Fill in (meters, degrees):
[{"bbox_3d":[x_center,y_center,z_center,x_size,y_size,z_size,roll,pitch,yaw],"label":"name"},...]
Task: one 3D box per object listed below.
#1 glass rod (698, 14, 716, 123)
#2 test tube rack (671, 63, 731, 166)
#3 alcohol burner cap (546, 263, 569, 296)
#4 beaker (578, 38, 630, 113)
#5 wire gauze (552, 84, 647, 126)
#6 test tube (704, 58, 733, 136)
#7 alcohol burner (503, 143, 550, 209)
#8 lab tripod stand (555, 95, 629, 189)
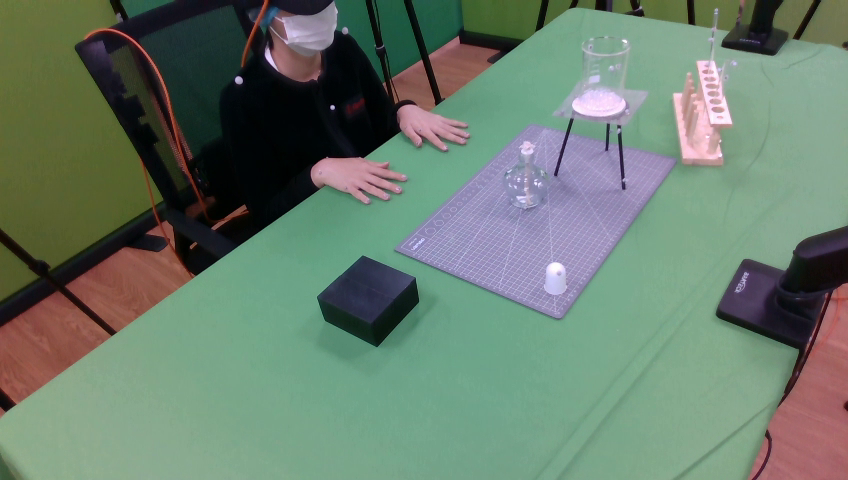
[{"bbox_3d":[0.531,-0.320,1.136,0.008,0.200,0.008,3,12,0],"label":"glass rod"},{"bbox_3d":[0.513,-0.241,1.132,0.066,0.085,0.242,4,41,14],"label":"test tube rack"},{"bbox_3d":[0.191,0.053,0.862,0.034,0.048,0.033,-5,40,4],"label":"alcohol burner cap"},{"bbox_3d":[0.290,-0.265,0.976,0.084,0.101,0.073,-18,41,-14],"label":"beaker"},{"bbox_3d":[0.293,-0.224,1.004,0.120,0.011,0.125,19,43,26],"label":"wire gauze"},{"bbox_3d":[0.516,-0.247,1.062,0.017,0.151,0.017,-3,43,4],"label":"test tube"},{"bbox_3d":[0.171,-0.111,1.007,0.078,0.119,0.077,-3,41,3],"label":"alcohol burner"},{"bbox_3d":[0.300,-0.174,1.045,0.148,0.132,0.147,-5,38,5],"label":"lab tripod stand"}]
